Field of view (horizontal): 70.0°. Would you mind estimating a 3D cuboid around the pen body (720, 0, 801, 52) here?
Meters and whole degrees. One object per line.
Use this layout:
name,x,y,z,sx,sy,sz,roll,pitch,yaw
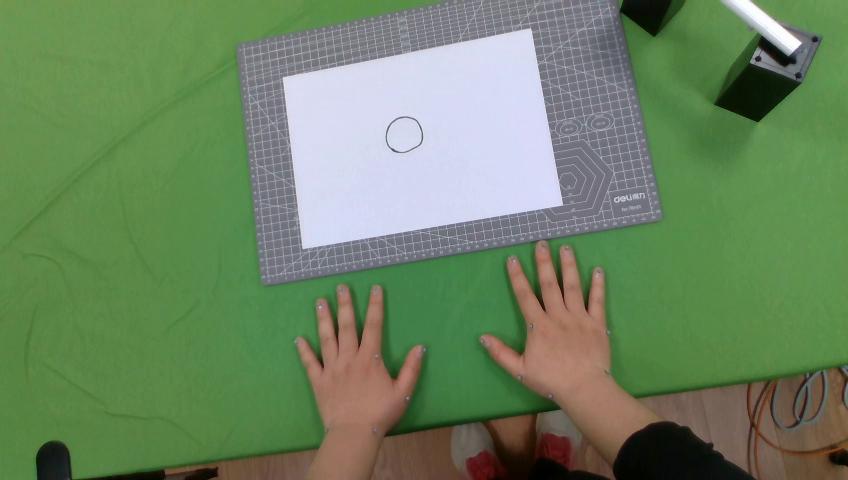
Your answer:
pen body,0.288,-0.225,0.565,0.017,0.017,0.143,-45,79,-1
